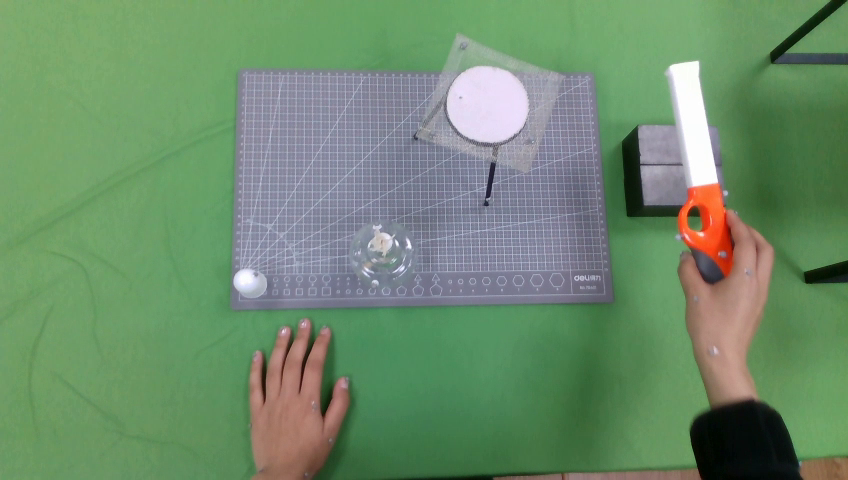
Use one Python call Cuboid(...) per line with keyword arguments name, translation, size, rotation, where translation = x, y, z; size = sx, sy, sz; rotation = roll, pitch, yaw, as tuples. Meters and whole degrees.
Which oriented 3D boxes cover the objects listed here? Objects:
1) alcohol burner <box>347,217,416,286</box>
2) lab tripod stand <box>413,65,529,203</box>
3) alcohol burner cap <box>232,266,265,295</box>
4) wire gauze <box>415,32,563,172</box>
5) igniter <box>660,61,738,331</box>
Cuboid(name="alcohol burner", translation=(-0.046, 0.010, 0.661), size=(0.078, 0.119, 0.077), rotation=(1, 80, -5))
Cuboid(name="lab tripod stand", translation=(0.062, -0.131, 0.688), size=(0.148, 0.132, 0.147), rotation=(1, 76, -4))
Cuboid(name="alcohol burner cap", translation=(-0.199, 0.043, 0.679), size=(0.034, 0.048, 0.033), rotation=(1, 78, -5))
Cuboid(name="wire gauze", translation=(0.069, -0.142, 0.623), size=(0.121, 0.011, 0.124), rotation=(22, 77, 0))
Cuboid(name="igniter", translation=(0.283, -0.045, 0.623), size=(0.057, 0.025, 0.276), rotation=(-9, 88, -1))
